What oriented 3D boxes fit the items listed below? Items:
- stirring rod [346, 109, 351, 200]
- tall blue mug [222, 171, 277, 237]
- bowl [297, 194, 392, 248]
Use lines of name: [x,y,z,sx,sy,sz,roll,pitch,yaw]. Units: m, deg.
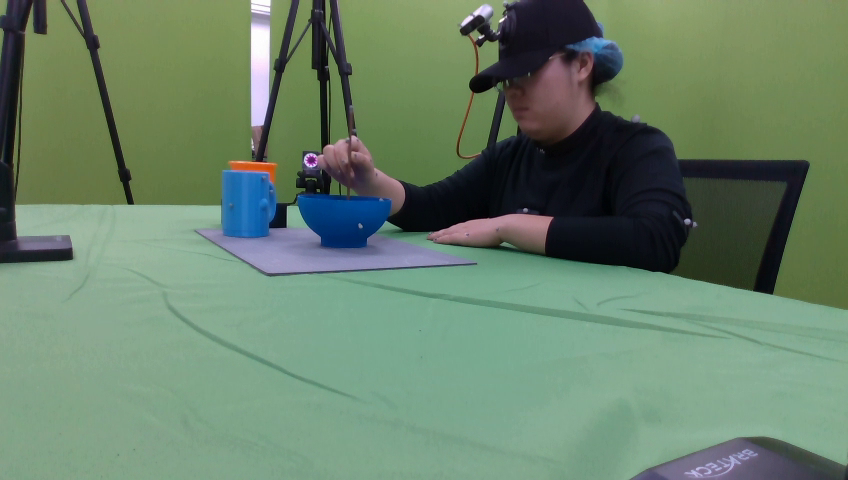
stirring rod: [-0.120,-0.117,0.955,0.006,0.176,0.014,1,6,-9]
tall blue mug: [-0.303,-0.064,1.043,0.078,0.108,0.107,1,7,-4]
bowl: [-0.127,-0.030,0.964,0.151,0.077,0.151,2,7,0]
